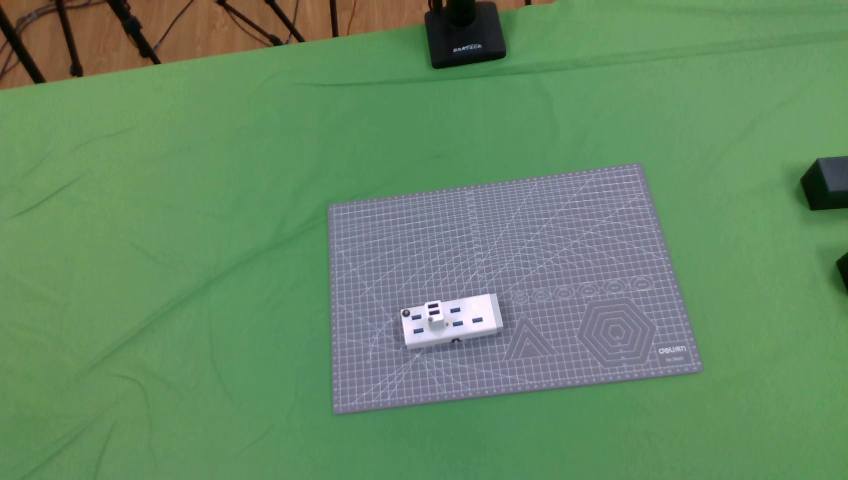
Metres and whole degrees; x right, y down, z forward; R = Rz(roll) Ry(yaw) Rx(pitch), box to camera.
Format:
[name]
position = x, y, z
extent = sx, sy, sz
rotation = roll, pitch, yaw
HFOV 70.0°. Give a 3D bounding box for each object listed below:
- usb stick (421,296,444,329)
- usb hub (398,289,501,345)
[usb stick]
position = 0.011, 0.091, 0.739
extent = 0.021, 0.059, 0.027
rotation = -14, 62, 0
[usb hub]
position = 0.031, 0.097, 0.767
extent = 0.125, 0.025, 0.049
rotation = -10, 64, 0
